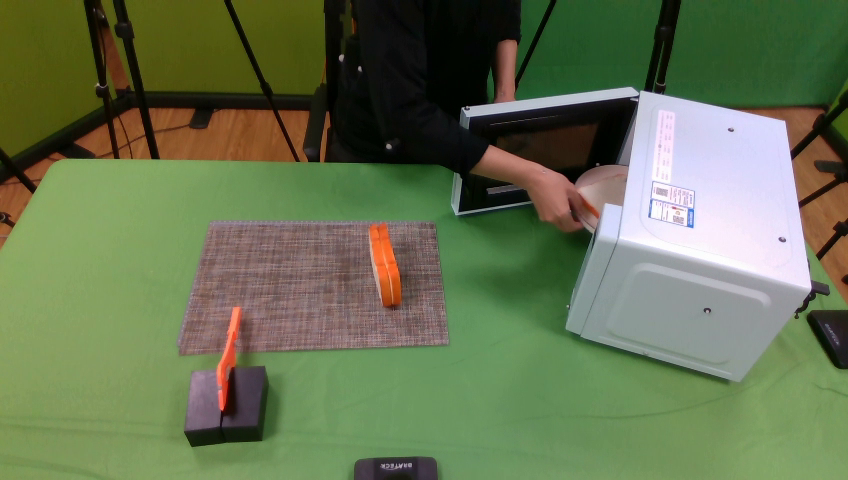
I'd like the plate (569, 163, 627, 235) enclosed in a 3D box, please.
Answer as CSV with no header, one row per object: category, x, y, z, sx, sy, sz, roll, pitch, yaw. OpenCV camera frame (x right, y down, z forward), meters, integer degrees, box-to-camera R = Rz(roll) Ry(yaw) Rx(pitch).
plate,0.379,-0.062,1.151,0.208,0.039,0.206,1,51,-1

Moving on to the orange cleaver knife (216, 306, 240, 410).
orange cleaver knife,-0.307,0.180,0.957,0.012,0.077,0.210,-2,25,-8

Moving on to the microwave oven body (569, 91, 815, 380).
microwave oven body,0.468,-0.022,1.082,0.325,0.261,0.440,15,46,11

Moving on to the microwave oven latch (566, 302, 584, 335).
microwave oven latch,0.268,0.126,1.059,0.030,0.029,0.079,16,46,12

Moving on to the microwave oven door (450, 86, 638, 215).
microwave oven door,0.234,-0.177,1.207,0.356,0.245,0.039,-10,47,-13

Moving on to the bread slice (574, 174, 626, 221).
bread slice,0.369,-0.078,1.168,0.134,0.018,0.106,-29,59,-22
